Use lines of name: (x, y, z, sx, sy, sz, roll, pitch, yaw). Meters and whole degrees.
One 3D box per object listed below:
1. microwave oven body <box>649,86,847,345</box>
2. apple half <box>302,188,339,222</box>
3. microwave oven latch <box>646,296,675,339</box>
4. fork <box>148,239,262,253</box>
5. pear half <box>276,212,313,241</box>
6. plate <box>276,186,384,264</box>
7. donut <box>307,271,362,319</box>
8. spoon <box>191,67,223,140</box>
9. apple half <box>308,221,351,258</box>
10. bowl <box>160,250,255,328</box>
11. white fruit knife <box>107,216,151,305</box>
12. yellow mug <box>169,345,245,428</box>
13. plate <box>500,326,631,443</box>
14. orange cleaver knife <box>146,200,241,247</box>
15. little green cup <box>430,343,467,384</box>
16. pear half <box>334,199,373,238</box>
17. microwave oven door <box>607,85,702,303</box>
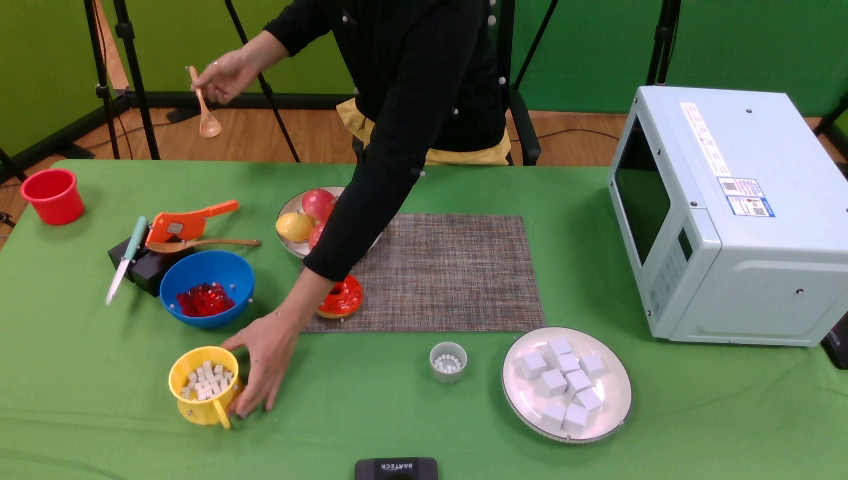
microwave oven body: (0.567, -0.053, 1.118, 0.326, 0.261, 0.439, 2, 45, -1)
apple half: (-0.205, -0.076, 1.217, 0.081, 0.033, 0.081, 18, 46, -19)
microwave oven latch: (0.412, 0.134, 1.061, 0.030, 0.029, 0.078, 4, 45, 1)
fork: (-0.398, 0.008, 1.117, 0.208, 0.019, 0.028, -5, 33, -37)
pear half: (-0.245, -0.034, 1.178, 0.070, 0.031, 0.088, 40, 41, 1)
plate: (-0.184, -0.027, 1.195, 0.209, 0.038, 0.208, 2, 46, -2)
donut: (-0.157, 0.097, 1.072, 0.099, 0.048, 0.098, 4, 45, -3)
spoon: (-0.435, -0.274, 1.200, 0.041, 0.022, 0.193, -20, 69, -5)
apple half: (-0.180, -0.005, 1.150, 0.074, 0.053, 0.080, 14, 43, 9)
bowl: (-0.362, 0.097, 1.040, 0.151, 0.077, 0.150, 2, 45, -2)
white fruit knife: (-0.519, 0.032, 1.066, 0.027, 0.016, 0.206, -18, 45, 19)
yellow mug: (-0.322, 0.230, 0.922, 0.100, 0.064, 0.130, -24, 54, -25)
plate: (0.224, 0.234, 0.978, 0.208, 0.039, 0.206, 2, 46, -2)
orange cleaver knife: (-0.435, -0.033, 1.157, 0.012, 0.077, 0.211, 31, 26, 19)
little green cup: (0.038, 0.203, 0.993, 0.061, 0.039, 0.061, 2, 46, -2)
pear half: (-0.147, -0.060, 1.210, 0.076, 0.056, 0.109, -16, 45, -25)
microwave oven door: (0.423, -0.094, 1.140, 0.039, 0.245, 0.353, 2, 46, -1)
